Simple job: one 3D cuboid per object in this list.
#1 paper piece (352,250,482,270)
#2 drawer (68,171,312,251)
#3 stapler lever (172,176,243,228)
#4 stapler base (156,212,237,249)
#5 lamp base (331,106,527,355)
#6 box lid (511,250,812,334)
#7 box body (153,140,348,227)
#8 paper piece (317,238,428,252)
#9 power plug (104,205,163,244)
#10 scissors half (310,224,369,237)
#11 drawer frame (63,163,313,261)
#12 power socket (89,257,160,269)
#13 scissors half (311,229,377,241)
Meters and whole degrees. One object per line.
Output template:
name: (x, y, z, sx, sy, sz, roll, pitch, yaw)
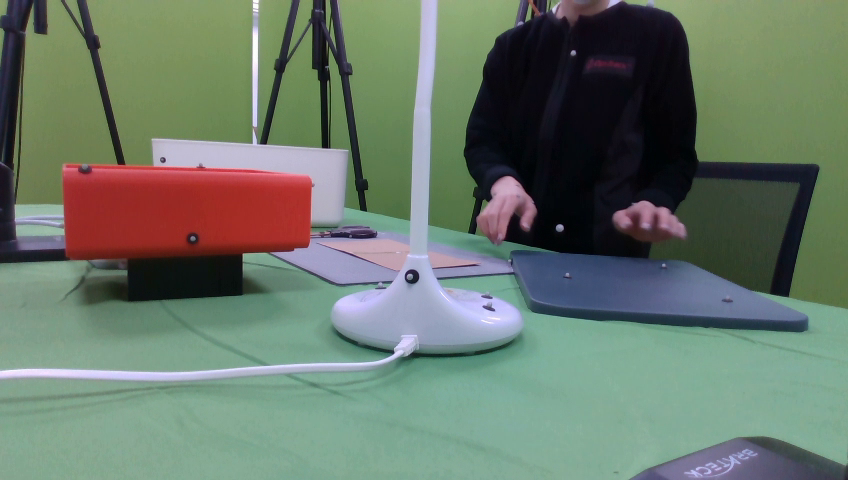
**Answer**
paper piece: (-0.013, 0.026, 0.842, 0.139, 0.008, 0.135, 0, 11, -32)
drawer: (-0.247, -0.036, 0.629, 0.213, 0.073, 0.193, -3, 9, -30)
stapler lever: (-0.217, -0.041, 0.618, 0.027, 0.040, 0.118, 19, 11, -2)
stapler base: (-0.227, -0.017, 0.624, 0.041, 0.024, 0.130, 19, 10, -2)
lamp base: (0.006, -0.012, 0.478, 0.161, 0.180, 0.179, 2, 10, 2)
box lid: (0.246, 0.051, 0.733, 0.263, 0.015, 0.371, 4, 7, 4)
box body: (-0.357, -0.119, 1.264, 0.365, 0.160, 0.253, 0, 7, -18)
paper piece: (-0.083, 0.008, 0.951, 0.136, 0.004, 0.134, -2, 8, -31)
power plug: (-0.390, -0.021, 0.815, 0.073, 0.052, 0.035, -1, 8, -27)
scissors half: (-0.172, -0.013, 1.062, 0.176, 0.013, 0.040, -9, 25, -43)
drawer frame: (-0.248, -0.036, 0.626, 0.215, 0.082, 0.200, -3, 9, -31)
power socket: (-0.409, 0.004, 0.793, 0.072, 0.032, 0.225, -2, 8, -38)
scissors half: (-0.161, -0.005, 1.047, 0.176, 0.013, 0.040, -1, 25, -27)
